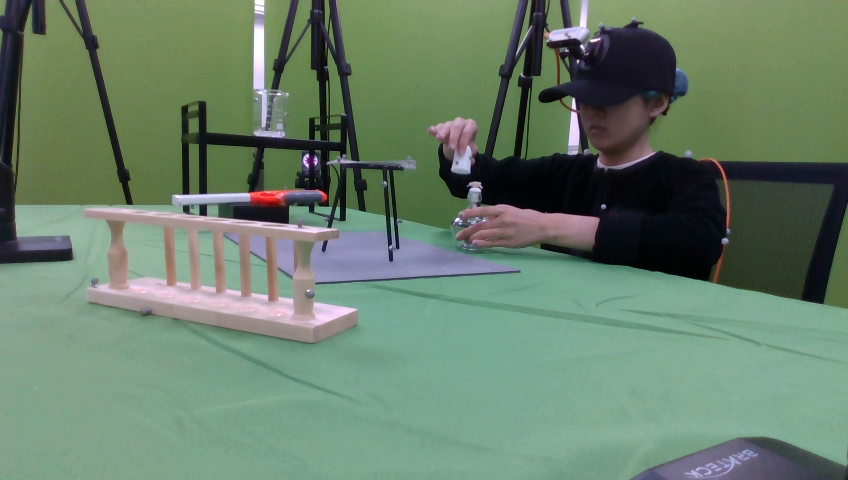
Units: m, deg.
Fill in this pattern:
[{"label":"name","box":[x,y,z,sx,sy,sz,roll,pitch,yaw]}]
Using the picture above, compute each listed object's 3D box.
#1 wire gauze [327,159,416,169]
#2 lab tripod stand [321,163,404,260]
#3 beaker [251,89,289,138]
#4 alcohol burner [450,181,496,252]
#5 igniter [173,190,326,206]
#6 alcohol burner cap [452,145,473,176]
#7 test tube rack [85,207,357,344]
[{"label":"wire gauze","box":[-0.072,-0.111,0.872,0.121,0.011,0.125,3,5,-2]},{"label":"lab tripod stand","box":[-0.076,-0.045,0.884,0.148,0.131,0.148,2,5,0]},{"label":"beaker","box":[-0.334,-0.273,1.316,0.084,0.100,0.074,6,8,15]},{"label":"alcohol burner","box":[0.084,-0.040,1.014,0.078,0.119,0.078,3,9,0]},{"label":"igniter","box":[-0.317,-0.079,1.128,0.278,0.025,0.057,-4,13,-32]},{"label":"alcohol burner cap","box":[0.063,-0.129,0.968,0.034,0.048,0.034,7,-7,1]},{"label":"test tube rack","box":[-0.177,0.022,0.518,0.241,0.085,0.067,6,7,23]}]
